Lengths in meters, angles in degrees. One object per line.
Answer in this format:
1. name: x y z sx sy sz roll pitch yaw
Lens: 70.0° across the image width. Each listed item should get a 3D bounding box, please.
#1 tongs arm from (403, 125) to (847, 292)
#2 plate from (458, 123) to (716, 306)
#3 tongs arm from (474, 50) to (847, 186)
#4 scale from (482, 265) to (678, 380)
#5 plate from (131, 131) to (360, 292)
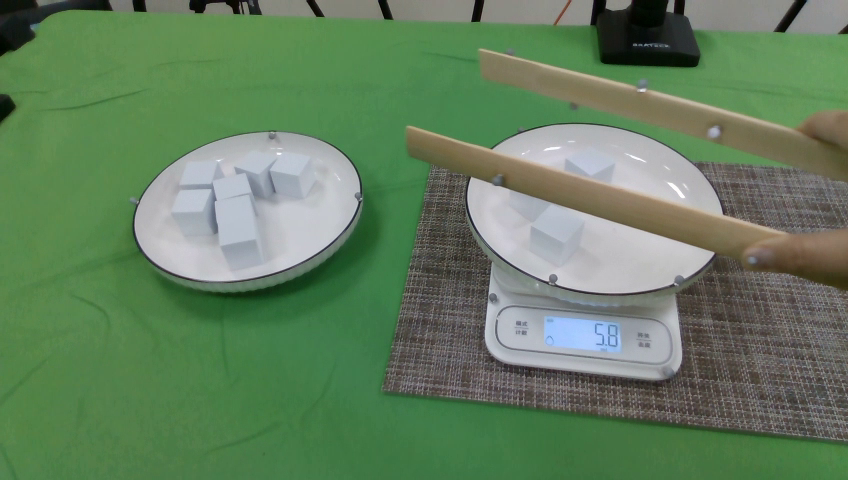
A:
1. tongs arm: 0.158 -0.009 0.318 0.385 0.028 0.028 18 50 22
2. plate: 0.133 -0.023 0.511 0.208 0.039 0.205 0 47 1
3. tongs arm: 0.186 -0.045 0.344 0.382 0.027 0.050 22 55 24
4. scale: 0.131 0.021 0.515 0.148 0.032 0.199 5 47 8
5. plate: -0.163 -0.027 0.574 0.209 0.038 0.207 -1 46 1
